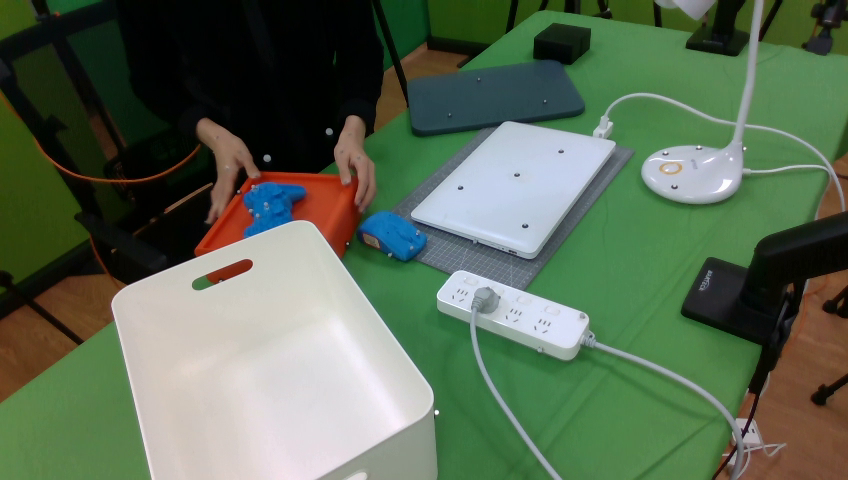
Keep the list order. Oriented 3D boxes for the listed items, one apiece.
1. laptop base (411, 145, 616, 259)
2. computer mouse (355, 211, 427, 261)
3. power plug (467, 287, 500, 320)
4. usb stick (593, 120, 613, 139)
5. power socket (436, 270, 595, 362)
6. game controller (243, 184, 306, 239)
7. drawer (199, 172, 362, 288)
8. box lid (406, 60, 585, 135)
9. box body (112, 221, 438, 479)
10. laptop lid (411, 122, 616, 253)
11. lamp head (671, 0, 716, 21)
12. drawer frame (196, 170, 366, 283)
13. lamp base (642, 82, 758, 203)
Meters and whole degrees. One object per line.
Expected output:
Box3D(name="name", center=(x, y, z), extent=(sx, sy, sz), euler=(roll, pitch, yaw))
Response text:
Box3D(name="laptop base", center=(0.168, -0.101, 1.073), extent=(0.234, 0.023, 0.355), euler=(17, 46, 30))
Box3D(name="computer mouse", center=(-0.054, -0.010, 0.979), extent=(0.116, 0.041, 0.063), euler=(27, 49, 29))
Box3D(name="power plug", center=(0.073, 0.092, 0.813), extent=(0.035, 0.053, 0.073), euler=(29, 53, 34))
Box3D(name="usb stick", center=(0.336, -0.201, 1.146), extent=(0.021, 0.027, 0.059), euler=(25, 52, 27))
Box3D(name="power socket", center=(0.118, 0.101, 0.832), extent=(0.225, 0.033, 0.072), euler=(19, 48, 27))
Box3D(name="game controller", center=(-0.229, -0.040, 0.930), extent=(0.097, 0.052, 0.154), euler=(-15, 40, -5))
Box3D(name="drawer", center=(-0.225, -0.023, 0.989), extent=(0.194, 0.073, 0.211), euler=(5, 42, 12))
Box3D(name="box lid", center=(0.150, -0.320, 1.340), extent=(0.372, 0.015, 0.261), euler=(-8, 40, 0))
Box3D(name="box body", center=(-0.170, 0.168, 0.693), extent=(0.255, 0.161, 0.360), euler=(-24, 43, -19))
Box3D(name="laptop lid", center=(0.165, -0.111, 1.067), extent=(0.240, 0.013, 0.357), euler=(19, 46, 31))
Box3D(name="lamp head", center=(0.375, -0.373, 0.807), extent=(0.122, 0.113, 0.112), euler=(-40, 27, 32))
Box3D(name="drawer frame", center=(-0.222, -0.022, 0.986), extent=(0.201, 0.083, 0.213), euler=(4, 42, 12))
Box3D(name="lamp base", center=(0.464, -0.174, 0.992), extent=(0.179, 0.181, 0.159), euler=(-5, 41, -1))
